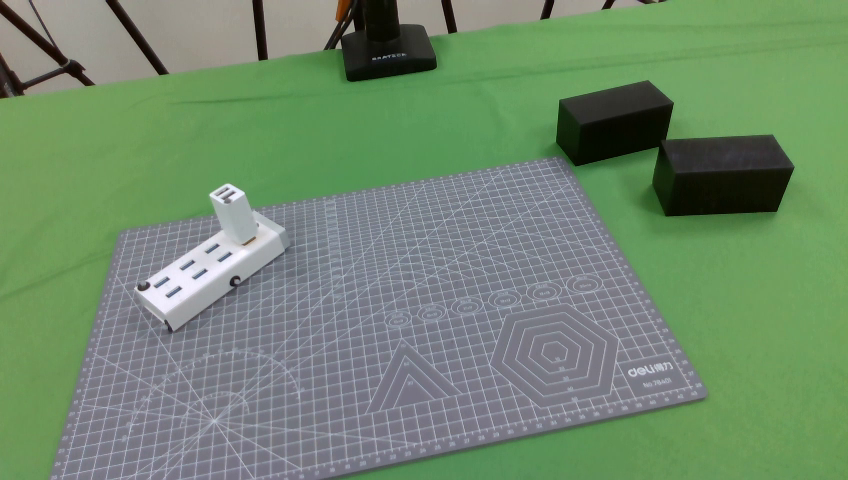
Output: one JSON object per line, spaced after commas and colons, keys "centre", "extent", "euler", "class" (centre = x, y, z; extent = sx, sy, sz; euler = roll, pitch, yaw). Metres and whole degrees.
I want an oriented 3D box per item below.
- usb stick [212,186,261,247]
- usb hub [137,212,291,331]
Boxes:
{"centre": [-0.160, -0.015, 0.523], "extent": [0.027, 0.060, 0.021], "euler": [23, 51, 33], "class": "usb stick"}
{"centre": [-0.180, 0.024, 0.529], "extent": [0.049, 0.025, 0.125], "euler": [27, 52, 31], "class": "usb hub"}
